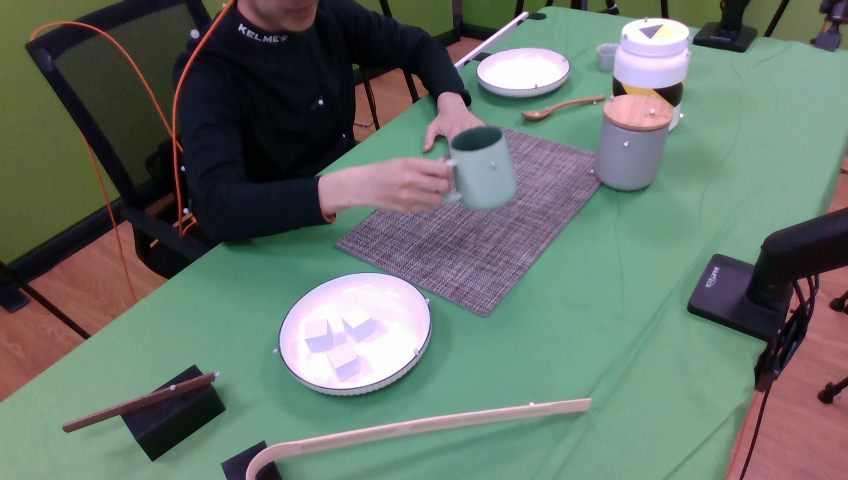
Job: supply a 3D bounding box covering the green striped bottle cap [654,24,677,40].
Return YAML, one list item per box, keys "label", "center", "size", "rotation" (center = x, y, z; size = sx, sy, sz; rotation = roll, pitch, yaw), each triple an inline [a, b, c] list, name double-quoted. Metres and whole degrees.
- label: "green striped bottle cap"
  center: [0.495, -0.426, 1.237]
  size: [0.044, 0.020, 0.044]
  rotation: [-5, 42, 5]

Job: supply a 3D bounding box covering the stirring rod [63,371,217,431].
- label: "stirring rod"
  center: [-0.337, 0.192, 0.723]
  size: [0.177, 0.014, 0.005]
  rotation: [-18, 43, -12]

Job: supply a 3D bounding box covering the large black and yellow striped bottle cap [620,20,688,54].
- label: "large black and yellow striped bottle cap"
  center: [0.411, -0.363, 1.080]
  size: [0.115, 0.019, 0.114]
  rotation: [-3, 42, 4]

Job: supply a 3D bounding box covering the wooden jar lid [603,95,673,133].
- label: "wooden jar lid"
  center: [0.343, -0.200, 0.974]
  size: [0.108, 0.021, 0.108]
  rotation: [-2, 39, 2]

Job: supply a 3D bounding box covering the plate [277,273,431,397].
- label: "plate"
  center: [-0.092, 0.129, 0.821]
  size: [0.207, 0.039, 0.206]
  rotation: [-4, 40, 4]

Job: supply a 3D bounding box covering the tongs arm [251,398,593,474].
- label: "tongs arm"
  center: [0.008, 0.212, 0.675]
  size: [0.389, 0.028, 0.028]
  rotation: [-5, 46, -11]

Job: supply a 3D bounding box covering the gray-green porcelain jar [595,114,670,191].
- label: "gray-green porcelain jar"
  center: [0.347, -0.155, 1.017]
  size: [0.106, 0.127, 0.105]
  rotation: [-2, 44, 2]

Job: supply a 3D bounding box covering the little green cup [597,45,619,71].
- label: "little green cup"
  center: [0.423, -0.413, 1.376]
  size: [0.061, 0.039, 0.061]
  rotation: [-4, 41, 4]

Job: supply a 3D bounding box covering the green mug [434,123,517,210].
- label: "green mug"
  center: [0.072, -0.100, 0.888]
  size: [0.126, 0.105, 0.091]
  rotation: [-27, 38, -14]

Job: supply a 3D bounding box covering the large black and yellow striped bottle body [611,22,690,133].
- label: "large black and yellow striped bottle body"
  center: [0.420, -0.300, 1.132]
  size: [0.131, 0.185, 0.130]
  rotation: [-4, 41, 4]

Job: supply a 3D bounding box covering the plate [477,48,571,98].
- label: "plate"
  center: [0.223, -0.371, 1.357]
  size: [0.209, 0.038, 0.208]
  rotation: [-4, 41, 4]

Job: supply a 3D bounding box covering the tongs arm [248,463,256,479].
- label: "tongs arm"
  center: [0.012, 0.262, 0.615]
  size: [0.385, 0.026, 0.050]
  rotation: [2, 42, -2]

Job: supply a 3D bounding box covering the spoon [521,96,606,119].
- label: "spoon"
  center: [0.291, -0.277, 1.249]
  size: [0.194, 0.022, 0.041]
  rotation: [-18, 23, -11]

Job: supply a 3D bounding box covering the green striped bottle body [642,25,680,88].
- label: "green striped bottle body"
  center: [0.499, -0.387, 1.271]
  size: [0.063, 0.120, 0.063]
  rotation: [-4, 41, 4]
